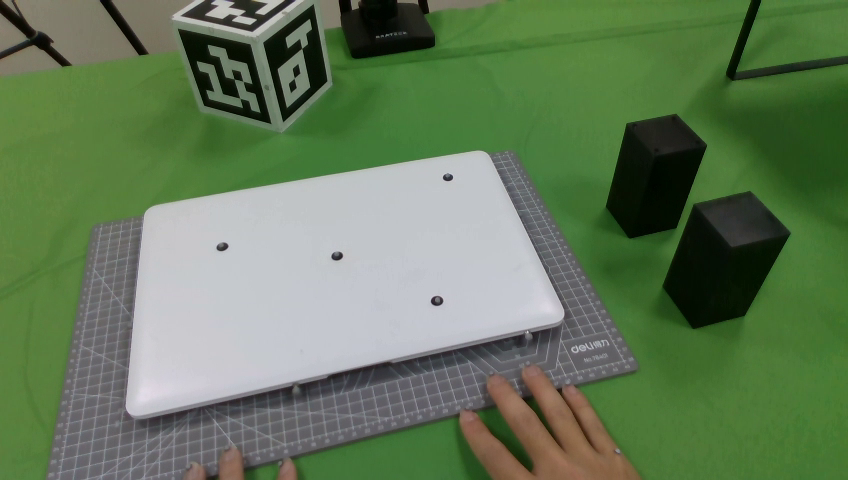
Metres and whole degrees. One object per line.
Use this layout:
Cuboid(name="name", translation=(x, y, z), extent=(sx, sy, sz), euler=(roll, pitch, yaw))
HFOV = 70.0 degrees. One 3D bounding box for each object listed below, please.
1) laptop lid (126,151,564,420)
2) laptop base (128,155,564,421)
Cuboid(name="laptop lid", translation=(-0.078, 0.019, 0.548), extent=(0.357, 0.013, 0.239), euler=(-10, 48, -7))
Cuboid(name="laptop base", translation=(-0.078, 0.026, 0.558), extent=(0.355, 0.023, 0.233), euler=(-11, 49, -8))
